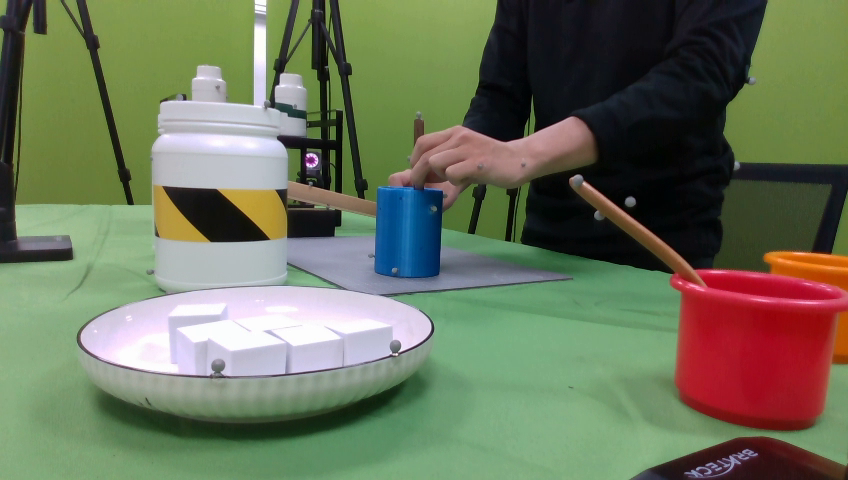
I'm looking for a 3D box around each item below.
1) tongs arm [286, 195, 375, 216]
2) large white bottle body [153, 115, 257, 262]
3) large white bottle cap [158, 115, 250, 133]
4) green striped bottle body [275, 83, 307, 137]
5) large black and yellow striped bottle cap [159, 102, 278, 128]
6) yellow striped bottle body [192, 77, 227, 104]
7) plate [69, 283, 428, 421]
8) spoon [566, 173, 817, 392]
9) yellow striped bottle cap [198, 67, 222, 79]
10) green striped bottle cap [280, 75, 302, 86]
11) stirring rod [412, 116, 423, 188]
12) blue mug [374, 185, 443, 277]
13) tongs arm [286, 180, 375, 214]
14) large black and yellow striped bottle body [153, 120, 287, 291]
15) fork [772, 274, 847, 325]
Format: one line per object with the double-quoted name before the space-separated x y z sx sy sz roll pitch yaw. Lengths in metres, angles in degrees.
"tongs arm" -0.165 -0.075 1.216 0.389 0.027 0.028 11 -6 -24
"large white bottle body" -0.293 -0.070 0.813 0.131 0.184 0.130 2 7 0
"large white bottle cap" -0.291 -0.153 0.803 0.115 0.018 0.115 1 7 0
"green striped bottle body" -0.269 -0.269 1.221 0.063 0.119 0.063 2 7 0
"large black and yellow striped bottle cap" -0.207 -0.125 0.615 0.115 0.019 0.115 2 6 0
"yellow striped bottle body" -0.414 -0.268 1.169 0.063 0.120 0.063 2 7 0
"plate" -0.102 0.066 0.381 0.208 0.039 0.207 2 7 0
"spoon" 0.161 0.024 0.370 0.193 0.021 0.042 47 17 3
"yellow striped bottle cap" -0.412 -0.320 1.162 0.044 0.018 0.044 1 6 0
"green striped bottle cap" -0.267 -0.320 1.216 0.044 0.020 0.044 4 9 0
"stirring rod" -0.007 -0.059 0.723 0.014 0.176 0.006 7 13 33
"blue mug" -0.022 -0.016 0.762 0.082 0.106 0.116 1 7 -8
"tongs arm" -0.122 -0.066 1.147 0.387 0.026 0.050 11 -2 -37
"large black and yellow striped bottle body" -0.208 -0.042 0.626 0.131 0.184 0.130 2 7 0
"fork" 0.332 0.019 0.444 0.028 0.018 0.207 0 -36 -14
